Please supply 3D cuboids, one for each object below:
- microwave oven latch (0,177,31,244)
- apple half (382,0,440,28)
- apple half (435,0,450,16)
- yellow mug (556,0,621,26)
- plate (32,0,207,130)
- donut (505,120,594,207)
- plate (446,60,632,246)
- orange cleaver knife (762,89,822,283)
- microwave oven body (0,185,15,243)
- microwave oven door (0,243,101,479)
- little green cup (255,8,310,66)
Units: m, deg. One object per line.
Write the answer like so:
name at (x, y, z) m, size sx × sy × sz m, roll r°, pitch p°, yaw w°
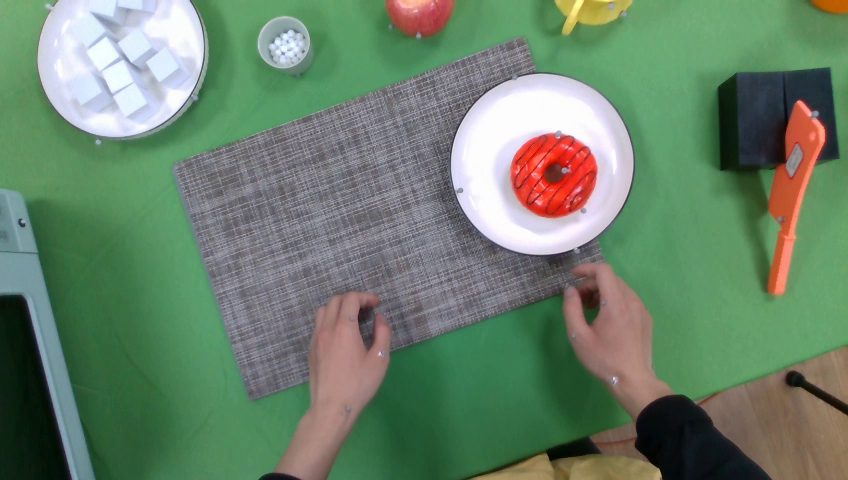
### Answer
microwave oven latch at (-0.491, -0.033, 0.712) m, size 0.030 × 0.029 × 0.079 m, roll -15°, pitch 88°, yaw 2°
apple half at (-0.021, -0.279, 0.694) m, size 0.053 × 0.074 × 0.081 m, roll -28°, pitch 91°, yaw 7°
apple half at (0.013, -0.298, 0.691) m, size 0.033 × 0.081 × 0.081 m, roll -28°, pitch 86°, yaw 7°
yellow mug at (0.186, -0.303, 0.686) m, size 0.100 × 0.064 × 0.131 m, roll 28°, pitch 91°, yaw 3°
plate at (-0.359, -0.232, 0.728) m, size 0.207 × 0.039 × 0.207 m, roll 0°, pitch 89°, yaw 3°
donut at (0.141, -0.086, 0.682) m, size 0.099 × 0.048 × 0.099 m, roll 0°, pitch 90°, yaw 4°
plate at (0.129, -0.097, 0.694) m, size 0.209 × 0.038 × 0.209 m, roll 0°, pitch 89°, yaw 3°
orange cleaver knife at (0.392, -0.054, 0.661) m, size 0.012 × 0.076 × 0.213 m, roll 0°, pitch 118°, yaw 7°
microwave oven body at (-0.588, 0.175, 0.615) m, size 0.326 × 0.260 × 0.441 m, roll -17°, pitch 88°, yaw 2°
microwave oven door at (-0.436, 0.174, 0.602) m, size 0.039 × 0.244 × 0.355 m, roll -17°, pitch 87°, yaw 3°
little green cup at (-0.165, -0.238, 0.718) m, size 0.061 × 0.038 × 0.061 m, roll 0°, pitch 88°, yaw 3°
